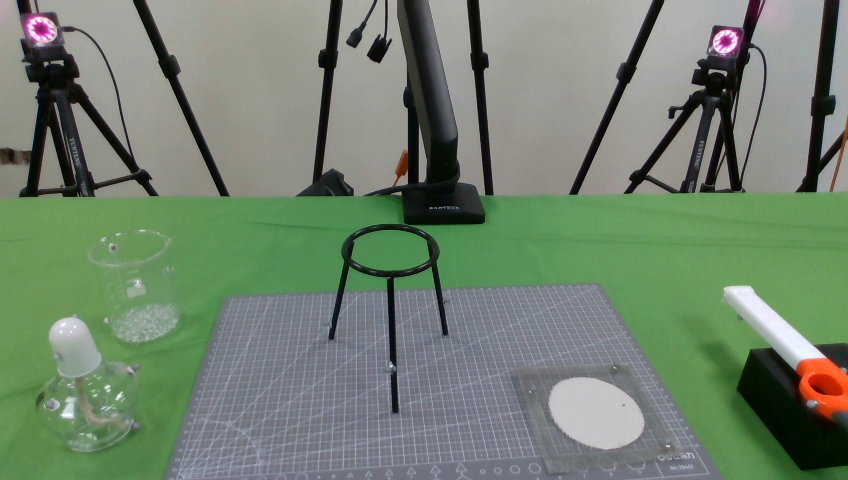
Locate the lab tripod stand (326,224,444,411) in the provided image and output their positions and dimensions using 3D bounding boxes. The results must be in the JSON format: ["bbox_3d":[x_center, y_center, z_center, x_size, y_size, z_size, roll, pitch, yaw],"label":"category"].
[{"bbox_3d":[-0.033,0.065,0.578,0.148,0.132,0.147,3,30,-2],"label":"lab tripod stand"}]

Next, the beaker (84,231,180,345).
[{"bbox_3d":[-0.295,0.050,0.628,0.073,0.101,0.084,27,37,36],"label":"beaker"}]

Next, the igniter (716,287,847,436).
[{"bbox_3d":[0.340,0.118,0.528,0.057,0.025,0.274,-2,27,-5],"label":"igniter"}]

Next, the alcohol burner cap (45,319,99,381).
[{"bbox_3d":[-0.281,0.084,0.479,0.034,0.048,0.033,3,34,-2],"label":"alcohol burner cap"}]

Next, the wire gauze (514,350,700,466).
[{"bbox_3d":[0.162,0.147,0.543,0.125,0.011,0.120,-6,27,-28],"label":"wire gauze"}]

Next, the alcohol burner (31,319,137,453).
[{"bbox_3d":[-0.281,0.115,0.497,0.078,0.120,0.077,3,27,-1],"label":"alcohol burner"}]
